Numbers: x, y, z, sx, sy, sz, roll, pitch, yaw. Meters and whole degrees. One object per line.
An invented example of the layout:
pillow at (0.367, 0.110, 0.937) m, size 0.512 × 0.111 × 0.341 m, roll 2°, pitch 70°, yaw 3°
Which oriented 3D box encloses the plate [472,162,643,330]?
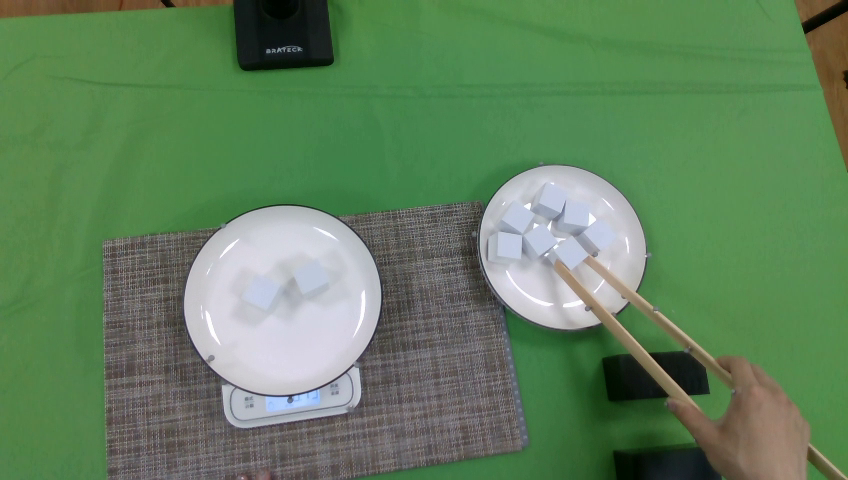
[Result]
plate at (0.159, 0.008, 0.740) m, size 0.208 × 0.039 × 0.206 m, roll 2°, pitch 76°, yaw -6°

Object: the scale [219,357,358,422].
scale at (-0.157, 0.095, 0.683) m, size 0.149 × 0.031 × 0.200 m, roll -6°, pitch 77°, yaw -8°

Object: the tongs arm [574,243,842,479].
tongs arm at (0.278, 0.136, 0.624) m, size 0.051 × 0.027 × 0.381 m, roll -33°, pitch 56°, yaw -17°

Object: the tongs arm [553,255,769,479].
tongs arm at (0.259, 0.147, 0.618) m, size 0.028 × 0.028 × 0.383 m, roll -27°, pitch 55°, yaw -18°

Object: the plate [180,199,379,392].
plate at (-0.153, 0.059, 0.659) m, size 0.209 × 0.038 × 0.208 m, roll 2°, pitch 76°, yaw -6°
